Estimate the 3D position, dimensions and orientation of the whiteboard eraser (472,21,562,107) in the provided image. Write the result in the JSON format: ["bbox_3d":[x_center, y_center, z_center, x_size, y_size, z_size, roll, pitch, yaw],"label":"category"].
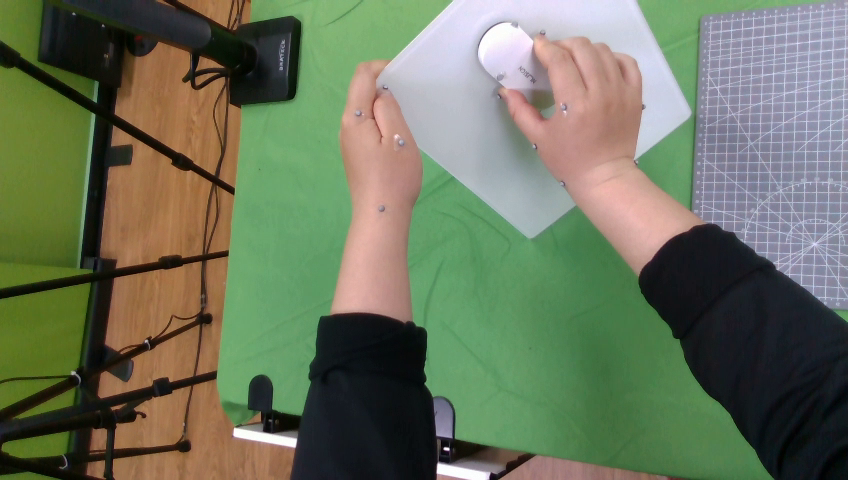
[{"bbox_3d":[0.078,-0.144,0.503,0.041,0.102,0.018,-43,49,22],"label":"whiteboard eraser"}]

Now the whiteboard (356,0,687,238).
[{"bbox_3d":[0.088,-0.171,0.599,0.217,0.309,0.142,-39,50,17],"label":"whiteboard"}]
